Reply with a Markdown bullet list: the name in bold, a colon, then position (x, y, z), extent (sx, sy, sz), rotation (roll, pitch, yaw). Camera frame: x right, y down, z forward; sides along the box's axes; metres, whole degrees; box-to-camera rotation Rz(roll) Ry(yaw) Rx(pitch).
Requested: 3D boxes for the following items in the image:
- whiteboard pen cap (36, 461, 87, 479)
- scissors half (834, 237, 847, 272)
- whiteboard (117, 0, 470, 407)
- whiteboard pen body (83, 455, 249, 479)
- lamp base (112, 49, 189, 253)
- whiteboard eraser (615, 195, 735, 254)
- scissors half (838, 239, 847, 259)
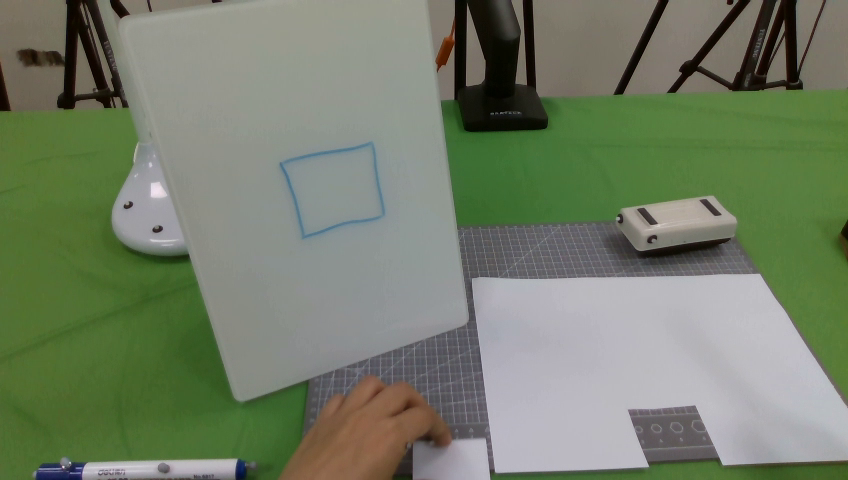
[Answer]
- **whiteboard pen cap**: position (-0.259, 0.168, 0.438), extent (0.033, 0.018, 0.018), rotation (-1, 39, -5)
- **scissors half**: position (0.326, 0.078, 0.423), extent (0.040, 0.013, 0.174), rotation (1, 67, -43)
- **whiteboard**: position (-0.101, -0.050, 0.535), extent (0.218, 0.307, 0.142), rotation (-16, 23, -17)
- **whiteboard pen body**: position (-0.200, 0.167, 0.442), extent (0.141, 0.017, 0.017), rotation (0, 39, -4)
- **lamp base**: position (-0.280, -0.103, 0.650), extent (0.177, 0.182, 0.160), rotation (25, 46, 31)
- **whiteboard eraser**: position (0.269, -0.015, 0.652), extent (0.113, 0.042, 0.055), rotation (-8, 41, -9)
- **scissors half**: position (0.309, 0.074, 0.411), extent (0.040, 0.013, 0.173), rotation (21, 54, -28)
